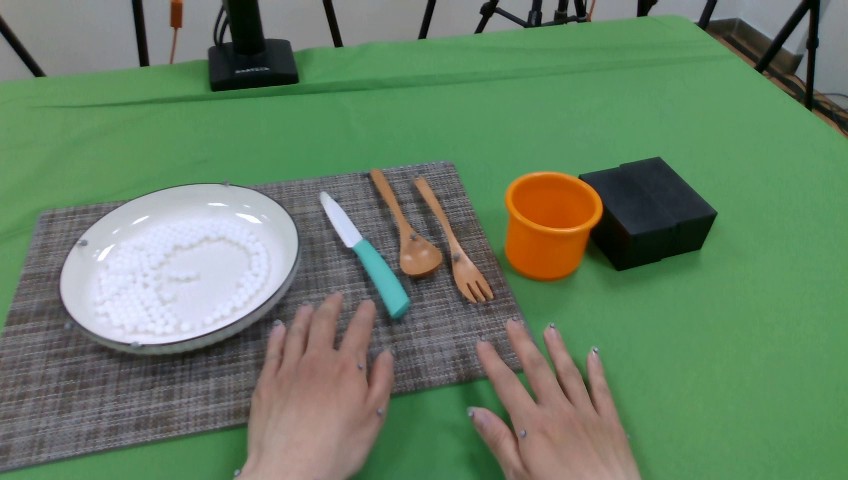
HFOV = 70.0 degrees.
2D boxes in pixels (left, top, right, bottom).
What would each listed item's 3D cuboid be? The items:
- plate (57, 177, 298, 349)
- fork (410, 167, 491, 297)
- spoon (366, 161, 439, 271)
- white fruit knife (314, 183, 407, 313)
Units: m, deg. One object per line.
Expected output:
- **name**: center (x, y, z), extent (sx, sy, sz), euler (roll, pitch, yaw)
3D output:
- **plate**: center (-0.220, 0.019, 0.564), extent (0.209, 0.038, 0.207), euler (1, 44, -1)
- **fork**: center (0.020, -0.015, 0.621), extent (0.028, 0.019, 0.205), euler (-18, 49, -9)
- **spoon**: center (-0.030, -0.032, 0.634), extent (0.041, 0.022, 0.191), euler (-24, 48, -4)
- **white fruit knife**: center (-0.068, -0.001, 0.605), extent (0.027, 0.016, 0.205), euler (-10, 43, -30)
